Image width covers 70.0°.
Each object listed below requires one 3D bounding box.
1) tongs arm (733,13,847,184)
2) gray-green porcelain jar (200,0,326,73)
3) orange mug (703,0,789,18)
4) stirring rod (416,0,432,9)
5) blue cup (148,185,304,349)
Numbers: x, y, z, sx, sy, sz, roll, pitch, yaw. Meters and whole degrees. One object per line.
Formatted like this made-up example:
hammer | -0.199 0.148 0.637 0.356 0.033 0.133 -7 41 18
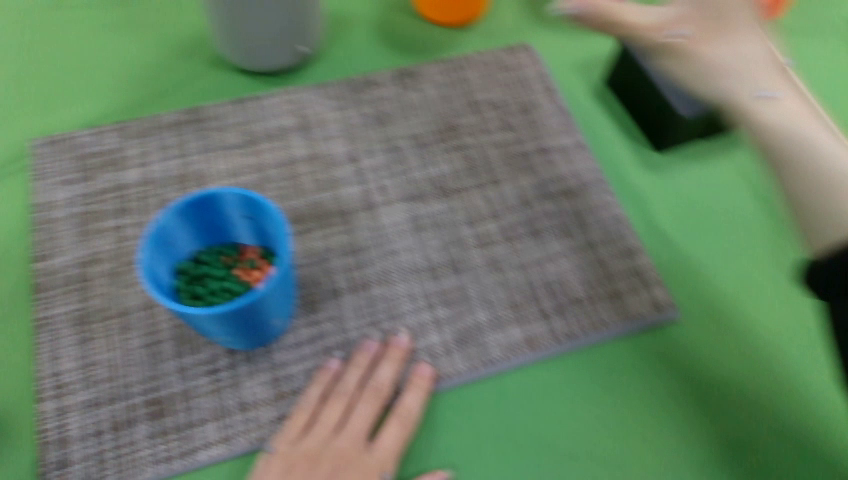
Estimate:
tongs arm | 0.389 -0.060 0.524 0.051 0.027 0.381 -12 63 -13
gray-green porcelain jar | -0.140 -0.219 0.523 0.106 0.127 0.105 2 61 -2
orange mug | 0.335 -0.291 0.613 0.083 0.101 0.125 -16 59 -12
stirring rod | 0.053 -0.290 0.570 0.176 0.006 0.014 -45 68 21
blue cup | -0.118 0.028 0.397 0.093 0.101 0.092 1 62 -1
